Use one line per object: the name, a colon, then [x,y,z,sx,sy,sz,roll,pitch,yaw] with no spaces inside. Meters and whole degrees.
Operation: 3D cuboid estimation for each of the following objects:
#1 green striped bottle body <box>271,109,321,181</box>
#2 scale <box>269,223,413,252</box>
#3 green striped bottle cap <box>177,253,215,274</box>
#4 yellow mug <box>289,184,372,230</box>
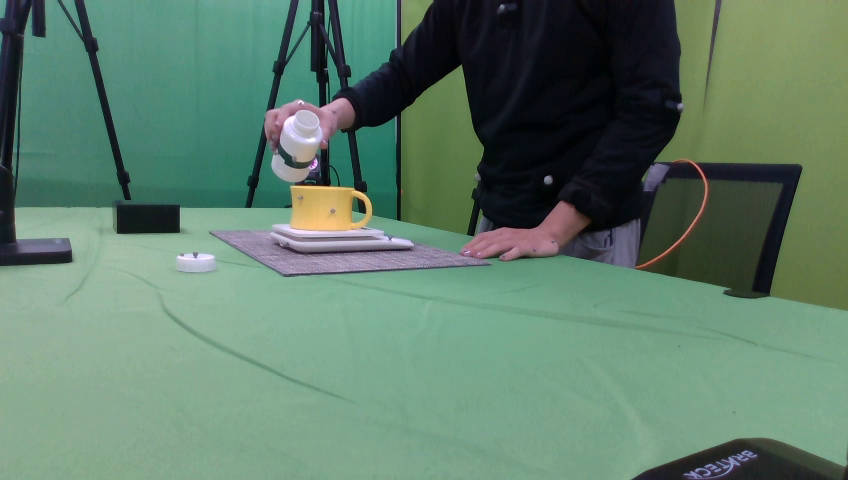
green striped bottle body: [-0.205,-0.155,0.976,0.063,0.063,0.119,-1,-34,-27]
scale: [-0.132,-0.007,0.965,0.202,0.031,0.148,-2,8,-31]
green striped bottle cap: [-0.279,0.028,0.741,0.044,0.020,0.044,4,6,0]
yellow mug: [-0.145,-0.052,0.944,0.131,0.064,0.100,4,6,9]
